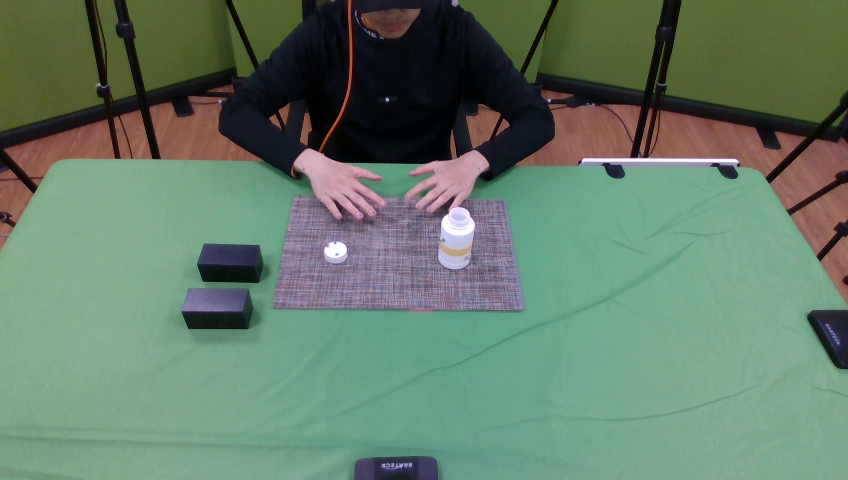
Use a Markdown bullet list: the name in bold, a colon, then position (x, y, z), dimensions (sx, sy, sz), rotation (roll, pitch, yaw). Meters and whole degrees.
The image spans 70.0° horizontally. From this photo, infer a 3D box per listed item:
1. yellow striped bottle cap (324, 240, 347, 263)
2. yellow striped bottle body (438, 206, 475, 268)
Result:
- **yellow striped bottle cap**: position (-0.170, 0.022, 1.161), dimensions (0.044, 0.019, 0.044), rotation (1, 47, -1)
- **yellow striped bottle body**: position (0.061, -0.008, 1.134), dimensions (0.063, 0.121, 0.062), rotation (2, 47, -2)
